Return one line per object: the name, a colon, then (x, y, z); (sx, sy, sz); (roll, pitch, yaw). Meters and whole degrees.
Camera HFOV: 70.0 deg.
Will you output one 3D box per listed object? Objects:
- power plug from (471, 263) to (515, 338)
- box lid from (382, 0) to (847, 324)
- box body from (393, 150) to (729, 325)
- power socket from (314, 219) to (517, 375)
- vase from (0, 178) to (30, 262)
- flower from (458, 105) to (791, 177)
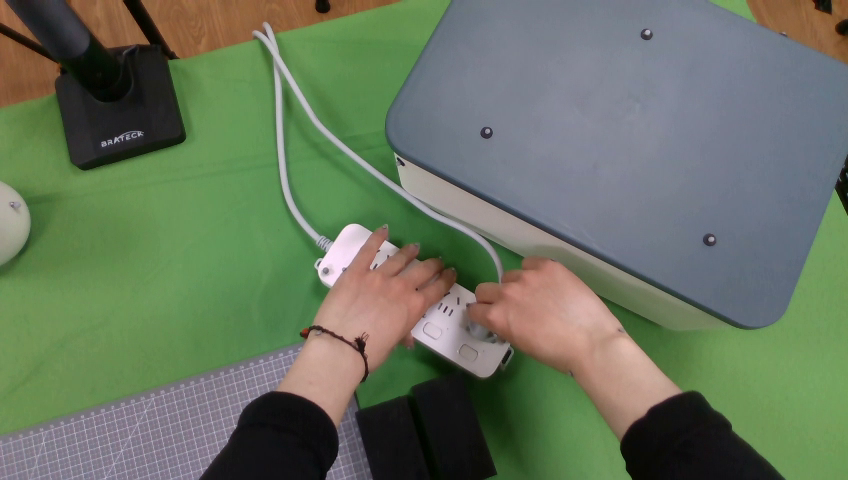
power plug: (0.076, 0.065, 0.600); (0.035, 0.053, 0.072); (39, 79, 10)
box lid: (0.178, -0.115, 0.526); (0.371, 0.015, 0.262); (27, 79, 4)
box body: (0.174, -0.099, 0.598); (0.363, 0.161, 0.253); (27, 78, 4)
power socket: (-0.008, 0.058, 0.623); (0.226, 0.033, 0.072); (31, 78, 5)
vase: (-0.450, -0.037, 0.542); (0.098, 0.201, 0.097); (1, 76, -2)
flower: (0.207, -0.122, 0.676); (0.360, 0.038, 0.044); (14, 67, 20)
